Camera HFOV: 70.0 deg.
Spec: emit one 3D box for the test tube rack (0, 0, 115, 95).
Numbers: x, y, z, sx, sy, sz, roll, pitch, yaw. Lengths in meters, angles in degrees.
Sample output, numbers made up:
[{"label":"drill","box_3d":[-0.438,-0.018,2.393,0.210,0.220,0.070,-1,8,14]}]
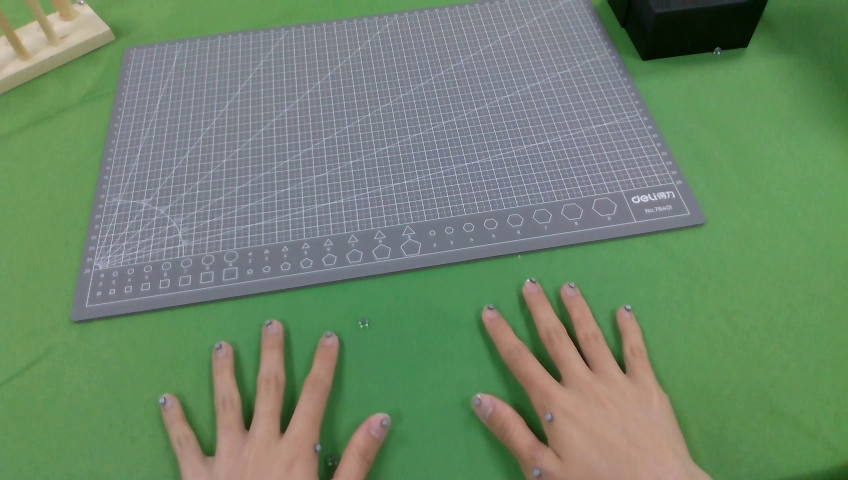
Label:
[{"label":"test tube rack","box_3d":[-0.415,-0.171,0.529,0.242,0.086,0.066,-36,61,-21]}]
